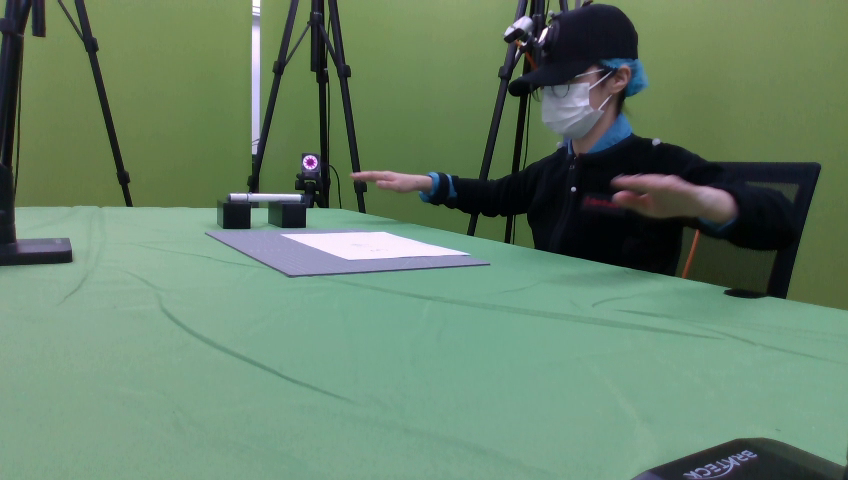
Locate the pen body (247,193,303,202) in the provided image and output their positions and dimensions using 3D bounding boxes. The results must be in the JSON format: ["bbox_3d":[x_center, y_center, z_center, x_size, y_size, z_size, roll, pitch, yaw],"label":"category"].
[{"bbox_3d":[-0.321,-0.087,1.244,0.145,0.017,0.017,-2,9,-33],"label":"pen body"}]

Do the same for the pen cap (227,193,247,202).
[{"bbox_3d":[-0.373,-0.085,1.209,0.039,0.017,0.017,-1,8,-34],"label":"pen cap"}]
